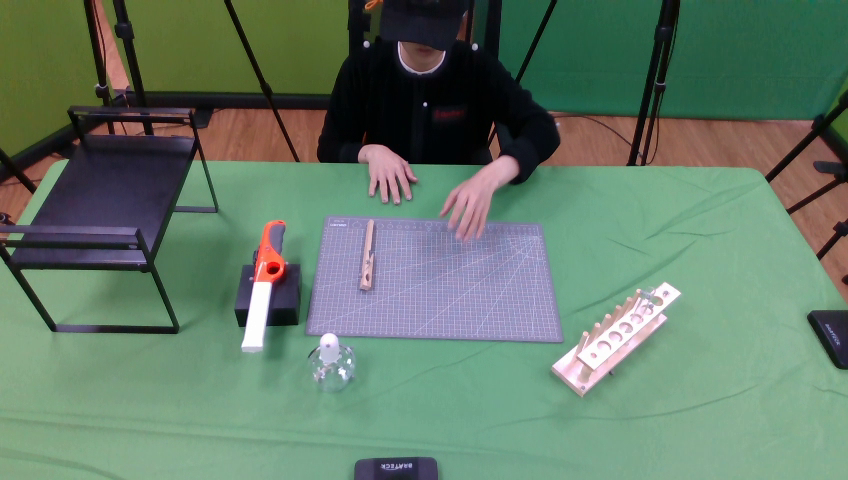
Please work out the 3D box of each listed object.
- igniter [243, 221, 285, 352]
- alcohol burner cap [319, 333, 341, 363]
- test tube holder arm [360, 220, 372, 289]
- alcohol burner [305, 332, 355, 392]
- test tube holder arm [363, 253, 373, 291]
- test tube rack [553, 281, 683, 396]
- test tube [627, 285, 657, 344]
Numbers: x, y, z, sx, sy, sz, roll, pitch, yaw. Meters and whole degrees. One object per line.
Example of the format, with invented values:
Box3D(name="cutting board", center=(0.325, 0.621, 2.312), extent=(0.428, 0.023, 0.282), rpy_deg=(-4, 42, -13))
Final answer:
Box3D(name="igniter", center=(-0.273, 0.069, 1.041), extent=(0.057, 0.025, 0.274), rpy_deg=(2, 48, -5))
Box3D(name="alcohol burner cap", center=(-0.144, 0.161, 0.921), extent=(0.034, 0.048, 0.033), rpy_deg=(2, 45, -2))
Box3D(name="test tube holder arm", center=(-0.110, 0.024, 1.161), extent=(0.013, 0.015, 0.177), rpy_deg=(28, 38, -27))
Box3D(name="alcohol burner", center=(-0.147, 0.183, 0.943), extent=(0.078, 0.119, 0.077), rpy_deg=(2, 43, -2))
Box3D(name="test tube holder arm", center=(-0.104, 0.058, 1.132), extent=(0.010, 0.015, 0.087), rpy_deg=(28, 37, -27))
Box3D(name="test tube rack", center=(0.329, 0.153, 1.023), extent=(0.242, 0.085, 0.066), rpy_deg=(-30, 54, -28))
Box3D(name="test tube", center=(0.350, 0.124, 0.983), extent=(0.017, 0.151, 0.017), rpy_deg=(0, 49, 0))
